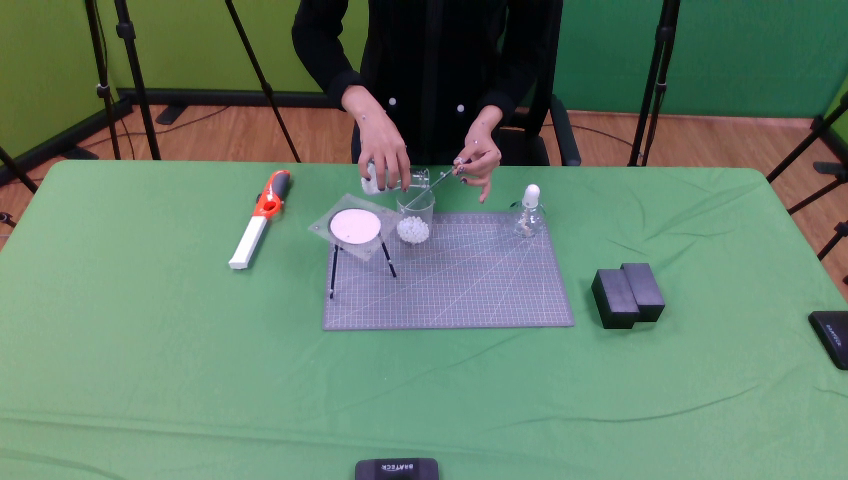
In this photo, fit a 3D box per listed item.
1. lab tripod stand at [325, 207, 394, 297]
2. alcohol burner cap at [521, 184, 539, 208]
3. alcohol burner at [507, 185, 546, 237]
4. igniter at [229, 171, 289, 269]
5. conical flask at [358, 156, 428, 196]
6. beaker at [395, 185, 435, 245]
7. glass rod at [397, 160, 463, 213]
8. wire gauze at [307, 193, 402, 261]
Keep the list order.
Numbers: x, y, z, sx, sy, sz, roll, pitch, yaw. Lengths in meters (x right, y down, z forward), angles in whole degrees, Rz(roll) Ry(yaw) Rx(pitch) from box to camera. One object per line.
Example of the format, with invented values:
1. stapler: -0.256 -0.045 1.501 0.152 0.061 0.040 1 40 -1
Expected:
1. lab tripod stand: -0.124 0.017 1.092 0.148 0.132 0.147 3 44 -3
2. alcohol burner cap: 0.210 -0.087 1.183 0.034 0.048 0.033 1 52 -1
3. alcohol burner: 0.208 -0.063 1.210 0.078 0.119 0.077 3 44 -3
4. igniter: -0.328 -0.049 1.218 0.057 0.025 0.275 0 45 10
5. conical flask: -0.054 -0.117 1.119 0.122 0.076 0.075 3 45 16
6. beaker: -0.022 -0.048 1.187 0.074 0.101 0.083 -28 54 -28
7. glass rod: 0.007 -0.096 1.120 0.008 0.200 0.008 21 53 -31
8. wire gauze: -0.118 -0.028 1.043 0.125 0.011 0.121 24 47 17
